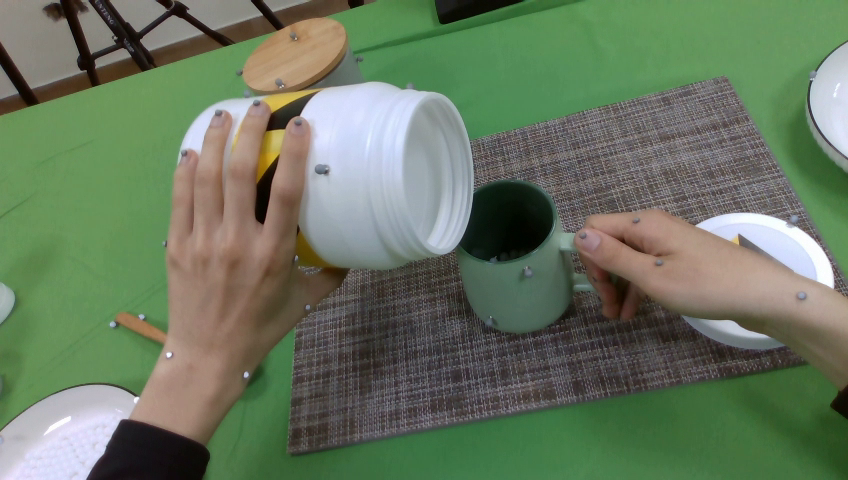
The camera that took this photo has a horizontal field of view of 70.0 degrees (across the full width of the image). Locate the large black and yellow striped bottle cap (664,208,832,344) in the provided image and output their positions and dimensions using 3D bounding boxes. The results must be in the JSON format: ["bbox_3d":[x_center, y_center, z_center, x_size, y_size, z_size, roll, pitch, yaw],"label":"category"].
[{"bbox_3d":[0.248,0.025,0.469,0.115,0.019,0.114,-10,53,13],"label":"large black and yellow striped bottle cap"}]

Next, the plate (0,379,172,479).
[{"bbox_3d":[-0.298,0.218,0.498,0.209,0.038,0.207,-8,54,12],"label":"plate"}]

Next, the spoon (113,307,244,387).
[{"bbox_3d":[-0.239,0.093,0.577,0.192,0.022,0.041,17,78,27],"label":"spoon"}]

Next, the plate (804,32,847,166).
[{"bbox_3d":[0.429,-0.110,0.498,0.207,0.039,0.205,-9,54,12],"label":"plate"}]

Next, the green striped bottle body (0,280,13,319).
[{"bbox_3d":[-0.505,0.044,0.635,0.063,0.120,0.062,-9,54,12],"label":"green striped bottle body"}]

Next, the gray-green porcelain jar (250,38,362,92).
[{"bbox_3d":[-0.108,-0.137,0.631,0.105,0.128,0.105,-9,49,11],"label":"gray-green porcelain jar"}]

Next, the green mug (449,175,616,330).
[{"bbox_3d":[0.085,0.013,0.474,0.125,0.106,0.092,4,57,21],"label":"green mug"}]

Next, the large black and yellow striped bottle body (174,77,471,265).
[{"bbox_3d":[-0.070,-0.047,0.443,0.183,0.132,0.130,1,56,27],"label":"large black and yellow striped bottle body"}]

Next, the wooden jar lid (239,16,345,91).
[{"bbox_3d":[-0.125,-0.176,0.583,0.108,0.021,0.107,-11,52,14],"label":"wooden jar lid"}]
